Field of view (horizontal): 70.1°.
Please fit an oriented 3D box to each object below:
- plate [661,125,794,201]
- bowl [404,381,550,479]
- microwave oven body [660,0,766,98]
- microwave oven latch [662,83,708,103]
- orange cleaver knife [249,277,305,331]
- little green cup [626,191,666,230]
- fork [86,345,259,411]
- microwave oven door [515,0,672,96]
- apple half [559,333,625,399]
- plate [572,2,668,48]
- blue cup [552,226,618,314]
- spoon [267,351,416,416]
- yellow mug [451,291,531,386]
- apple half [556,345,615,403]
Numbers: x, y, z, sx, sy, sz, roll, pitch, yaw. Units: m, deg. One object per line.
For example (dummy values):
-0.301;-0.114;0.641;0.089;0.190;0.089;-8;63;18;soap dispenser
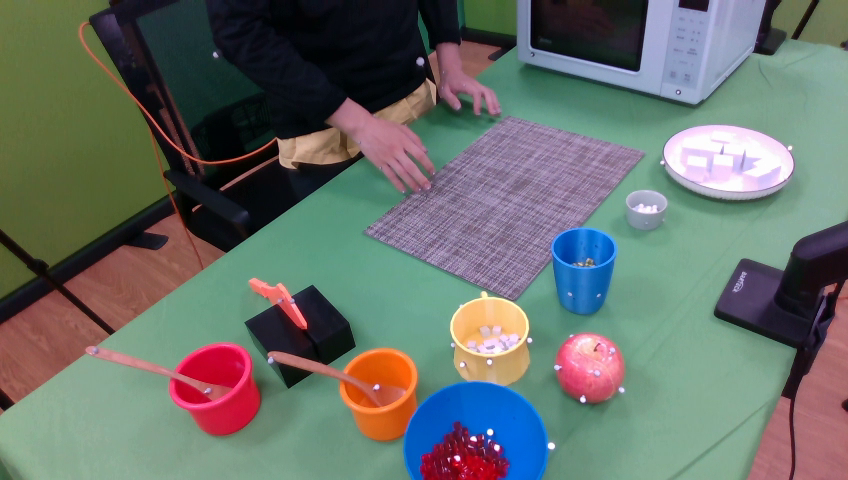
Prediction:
0.513;-0.128;1.035;0.207;0.039;0.206;-4;40;4;plate
0.058;0.235;0.645;0.151;0.077;0.150;-4;39;4;bowl
0.472;-0.513;1.317;0.438;0.261;0.327;26;51;34;microwave oven body
0.518;-0.296;1.204;0.078;0.029;0.030;27;52;35;microwave oven latch
-0.210;0.088;0.855;0.012;0.077;0.210;-28;15;-25;orange cleaver knife
0.352;-0.046;0.963;0.061;0.039;0.061;-4;40;4;little green cup
-0.298;0.166;0.728;0.209;0.018;0.028;28;47;-23;fork
0.343;-0.454;1.259;0.353;0.245;0.039;26;51;33;microwave oven door
0.209;0.147;0.730;0.080;0.075;0.053;26;48;38;apple half
0.440;-0.482;1.367;0.209;0.038;0.208;-4;41;4;plate
0.218;0.047;0.825;0.092;0.100;0.092;-6;39;5;blue cup
-0.090;0.162;0.699;0.021;0.195;0.041;-45;30;27;spoon
0.086;0.120;0.786;0.100;0.064;0.130;-7;39;1;yellow mug
0.181;0.167;0.709;0.080;0.081;0.033;29;50;35;apple half
